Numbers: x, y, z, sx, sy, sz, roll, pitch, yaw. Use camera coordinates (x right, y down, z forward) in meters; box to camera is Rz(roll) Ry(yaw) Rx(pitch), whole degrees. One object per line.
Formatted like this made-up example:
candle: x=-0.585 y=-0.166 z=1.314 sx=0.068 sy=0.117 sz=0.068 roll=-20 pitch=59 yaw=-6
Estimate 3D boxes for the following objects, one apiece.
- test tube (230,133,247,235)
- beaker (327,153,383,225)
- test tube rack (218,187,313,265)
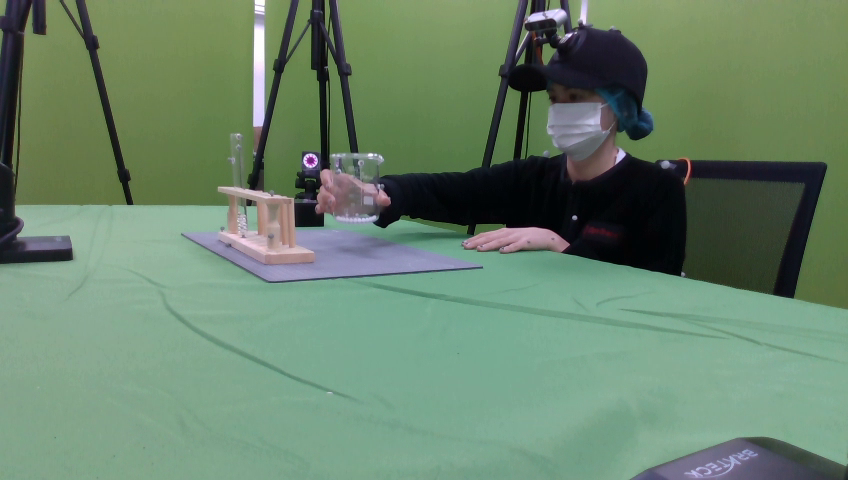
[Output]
test tube: x=-0.273 y=-0.081 z=0.892 sx=0.017 sy=0.150 sz=0.017 roll=-1 pitch=9 yaw=0
beaker: x=-0.100 y=-0.076 z=0.893 sx=0.084 sy=0.100 sz=0.074 roll=4 pitch=13 yaw=16
test tube rack: x=-0.235 y=-0.027 z=0.872 sx=0.067 sy=0.085 sz=0.241 roll=-2 pitch=8 yaw=-32
